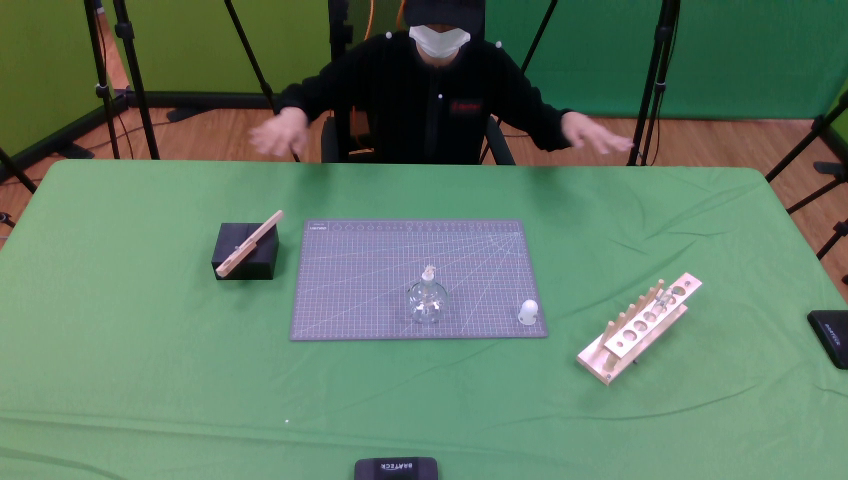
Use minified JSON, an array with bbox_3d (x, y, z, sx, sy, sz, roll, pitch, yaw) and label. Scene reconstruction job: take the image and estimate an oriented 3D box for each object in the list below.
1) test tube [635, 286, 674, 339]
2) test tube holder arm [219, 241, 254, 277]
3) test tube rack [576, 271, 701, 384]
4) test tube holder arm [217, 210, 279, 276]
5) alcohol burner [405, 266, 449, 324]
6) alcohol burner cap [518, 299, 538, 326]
[{"bbox_3d":[0.375,0.123,0.994,0.017,0.151,0.017,2,52,-2],"label":"test tube"},{"bbox_3d":[-0.332,0.032,1.076,0.010,0.015,0.087,19,47,16],"label":"test tube holder arm"},{"bbox_3d":[0.373,0.138,1.047,0.242,0.085,0.066,-31,56,-29],"label":"test tube rack"},{"bbox_3d":[-0.319,0.002,1.108,0.013,0.015,0.178,17,46,14],"label":"test tube holder arm"},{"bbox_3d":[0.005,0.089,1.043,0.078,0.120,0.077,1,44,-1],"label":"alcohol burner"},{"bbox_3d":[0.186,0.126,1.072,0.034,0.048,0.033,1,45,-1],"label":"alcohol burner cap"}]
